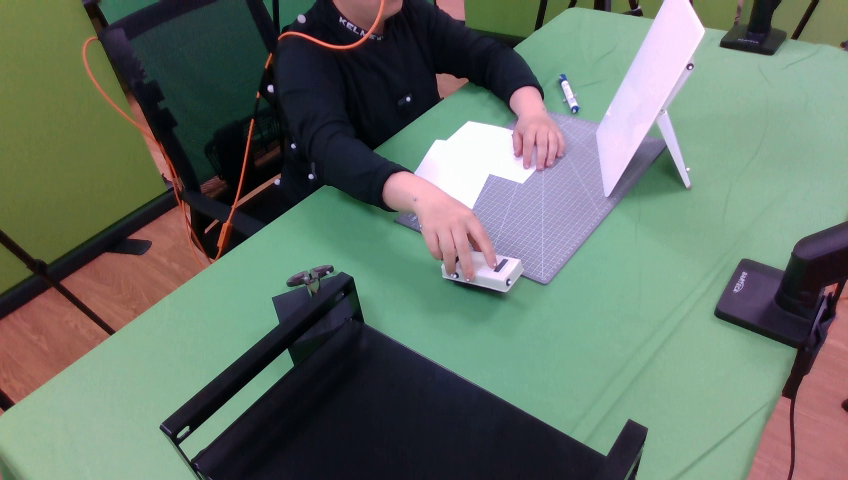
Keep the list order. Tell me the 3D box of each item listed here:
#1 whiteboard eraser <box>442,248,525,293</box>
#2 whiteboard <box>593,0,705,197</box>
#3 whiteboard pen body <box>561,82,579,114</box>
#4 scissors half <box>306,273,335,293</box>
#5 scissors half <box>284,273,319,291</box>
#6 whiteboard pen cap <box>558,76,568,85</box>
[{"bbox_3d":[0.085,0.046,0.874,0.112,0.042,0.056,9,37,36],"label":"whiteboard eraser"},{"bbox_3d":[0.421,-0.227,1.009,0.144,0.305,0.216,17,41,-3],"label":"whiteboard"},{"bbox_3d":[0.310,-0.311,1.297,0.017,0.017,0.140,-6,41,2],"label":"whiteboard pen body"},{"bbox_3d":[-0.152,0.062,0.873,0.040,0.013,0.175,1,4,-4],"label":"scissors half"},{"bbox_3d":[-0.172,0.063,0.868,0.040,0.013,0.174,-6,5,-22],"label":"scissors half"},{"bbox_3d":[0.310,-0.350,1.340,0.018,0.018,0.033,-6,41,2],"label":"whiteboard pen cap"}]
